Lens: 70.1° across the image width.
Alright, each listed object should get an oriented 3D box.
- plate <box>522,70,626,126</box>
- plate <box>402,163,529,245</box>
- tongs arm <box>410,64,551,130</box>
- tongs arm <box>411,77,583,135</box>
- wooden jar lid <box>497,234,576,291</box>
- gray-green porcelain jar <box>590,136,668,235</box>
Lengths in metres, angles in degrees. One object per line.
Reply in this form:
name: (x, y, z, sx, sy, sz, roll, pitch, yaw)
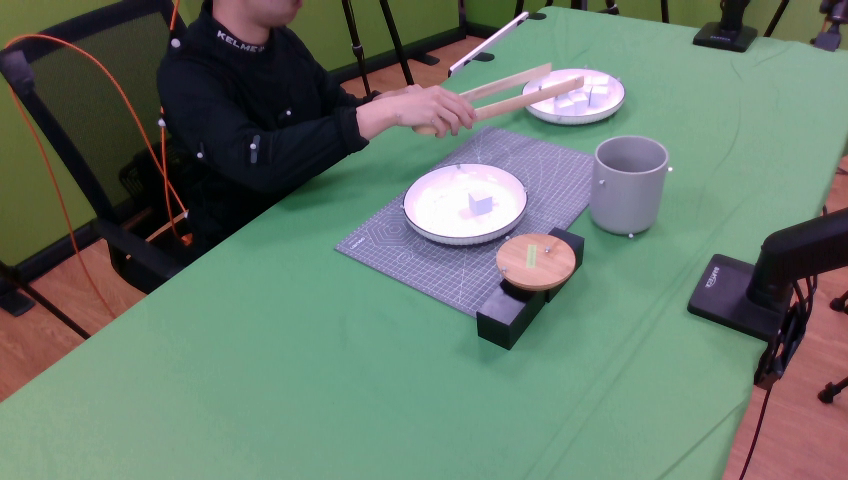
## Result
plate: (0.308, -0.290, 1.251, 0.207, 0.039, 0.206, -4, 40, 4)
plate: (0.069, -0.056, 1.008, 0.209, 0.038, 0.208, -4, 40, 4)
tongs arm: (0.120, -0.290, 1.199, 0.389, 0.028, 0.028, -26, 48, -30)
tongs arm: (0.150, -0.264, 1.163, 0.387, 0.026, 0.050, -23, 43, -26)
wooden jar lid: (0.155, 0.032, 0.834, 0.108, 0.021, 0.108, -5, 40, 5)
gray-green porcelain jar: (0.314, -0.080, 0.937, 0.106, 0.127, 0.105, -4, 41, 4)
